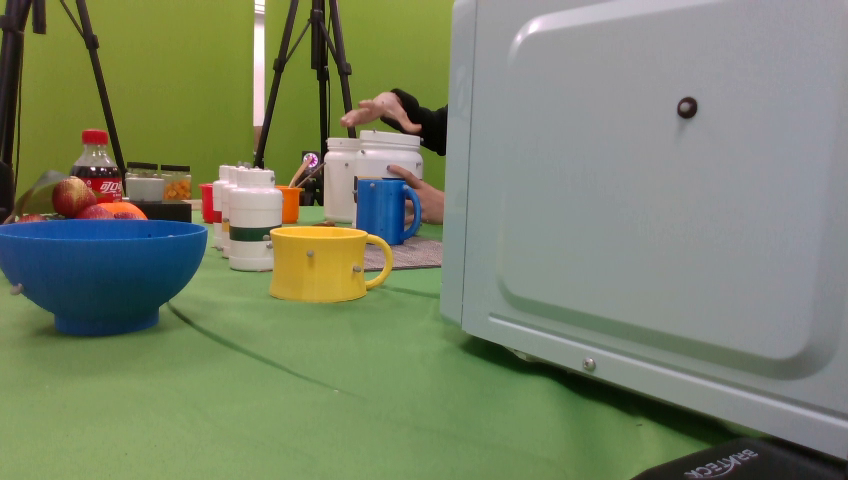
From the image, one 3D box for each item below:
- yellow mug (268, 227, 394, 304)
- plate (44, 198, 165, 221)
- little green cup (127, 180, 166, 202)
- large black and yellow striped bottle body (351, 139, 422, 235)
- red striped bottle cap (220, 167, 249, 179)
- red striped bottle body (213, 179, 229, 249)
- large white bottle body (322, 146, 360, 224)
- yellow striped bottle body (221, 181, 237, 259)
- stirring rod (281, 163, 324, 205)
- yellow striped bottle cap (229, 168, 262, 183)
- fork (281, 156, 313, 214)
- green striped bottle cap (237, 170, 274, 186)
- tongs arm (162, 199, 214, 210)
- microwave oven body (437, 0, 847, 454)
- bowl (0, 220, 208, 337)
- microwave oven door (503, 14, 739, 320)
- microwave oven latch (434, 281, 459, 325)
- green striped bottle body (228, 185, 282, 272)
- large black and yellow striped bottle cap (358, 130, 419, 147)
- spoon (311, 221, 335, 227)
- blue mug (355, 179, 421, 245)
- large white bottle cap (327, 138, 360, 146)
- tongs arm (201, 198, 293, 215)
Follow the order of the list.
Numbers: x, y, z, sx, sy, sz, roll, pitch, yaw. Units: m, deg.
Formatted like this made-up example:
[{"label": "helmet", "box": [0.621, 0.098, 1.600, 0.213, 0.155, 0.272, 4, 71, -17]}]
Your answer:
[{"label": "yellow mug", "box": [-0.094, 0.023, 0.629, 0.131, 0.064, 0.099, 0, 7, -22]}, {"label": "plate", "box": [-0.617, -0.056, 1.179, 0.209, 0.038, 0.209, 3, 7, 0]}, {"label": "little green cup", "box": [-0.486, -0.086, 1.061, 0.061, 0.038, 0.061, 0, 7, 0]}, {"label": "large black and yellow striped bottle body", "box": [-0.070, -0.105, 1.143, 0.131, 0.184, 0.130, 3, 8, 0]}, {"label": "red striped bottle cap", "box": [-0.281, -0.099, 0.901, 0.044, 0.017, 0.044, -1, 5, 0]}, {"label": "red striped bottle body", "box": [-0.284, -0.047, 0.908, 0.063, 0.119, 0.063, 2, 8, 0]}, {"label": "large white bottle body", "box": [-0.163, -0.134, 1.369, 0.131, 0.184, 0.130, 2, 8, 0]}, {"label": "yellow striped bottle body", "box": [-0.244, -0.035, 0.823, 0.063, 0.120, 0.063, 2, 8, 0]}, {"label": "stirring rod", "box": [-0.278, -0.104, 1.293, 0.176, 0.006, 0.014, -47, 25, -18]}, {"label": "yellow striped bottle cap", "box": [-0.240, -0.087, 0.816, 0.044, 0.018, 0.044, -3, 6, 1]}, {"label": "fork", "box": [-0.289, -0.116, 1.320, 0.028, 0.019, 0.207, -2, 48, 27]}, {"label": "green striped bottle cap", "box": [-0.205, -0.075, 0.737, 0.044, 0.020, 0.044, 1, 5, 0]}, {"label": "tongs arm", "box": [-0.504, -0.091, 1.513, 0.028, 0.028, 0.389, 0, 4, 37]}, {"label": "microwave oven body", "box": [0.279, -0.040, 0.464, 0.444, 0.260, 0.324, -3, 9, -41]}, {"label": "bowl", "box": [-0.251, 0.029, 0.479, 0.151, 0.077, 0.151, 2, 7, 0]}, {"label": "microwave oven door", "box": [0.218, -0.065, 0.600, 0.358, 0.243, 0.039, -4, 10, -41]}, {"label": "microwave oven latch", "box": [0.044, 0.045, 0.470, 0.079, 0.029, 0.030, -2, 8, -39]}, {"label": "green striped bottle body", "box": [-0.208, -0.023, 0.745, 0.063, 0.119, 0.063, 2, 7, 0]}, {"label": "large black and yellow striped bottle cap", "box": [-0.066, -0.190, 1.133, 0.115, 0.019, 0.115, 7, 8, -1]}, {"label": "spoon", "box": [-0.185, -0.027, 1.131, 0.041, 0.021, 0.193, -20, 6, 2]}, {"label": "blue mug", "box": [-0.058, -0.046, 1.004, 0.116, 0.106, 0.082, 6, 9, 24]}, {"label": "large white bottle cap", "box": [-0.160, -0.218, 1.357, 0.115, 0.018, 0.115, 2, 8, 0]}, {"label": "tongs arm", "box": [-0.423, -0.084, 1.472, 0.050, 0.026, 0.386, 2, 6, 21]}]
